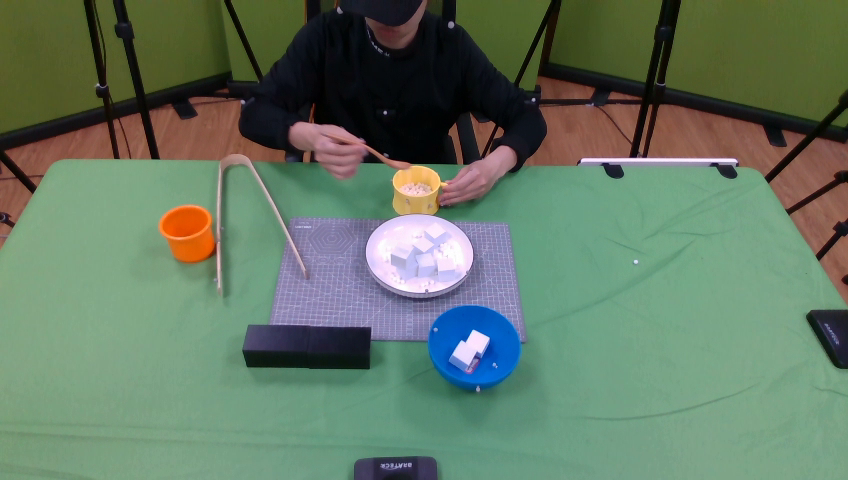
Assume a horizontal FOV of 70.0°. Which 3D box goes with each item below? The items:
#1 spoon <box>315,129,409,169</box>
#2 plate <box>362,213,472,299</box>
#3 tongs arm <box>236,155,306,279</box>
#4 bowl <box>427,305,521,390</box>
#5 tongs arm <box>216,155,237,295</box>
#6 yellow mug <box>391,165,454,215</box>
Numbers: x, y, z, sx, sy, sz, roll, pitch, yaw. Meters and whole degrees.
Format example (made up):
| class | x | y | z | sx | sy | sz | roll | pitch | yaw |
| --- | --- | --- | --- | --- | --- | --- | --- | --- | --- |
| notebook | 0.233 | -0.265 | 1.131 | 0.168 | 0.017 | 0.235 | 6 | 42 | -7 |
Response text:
| class | x | y | z | sx | sy | sz | roll | pitch | yaw |
| --- | --- | --- | --- | --- | --- | --- | --- | --- | --- |
| spoon | -0.114 | -0.172 | 1.140 | 0.195 | 0.021 | 0.041 | 22 | 16 | -29 |
| plate | -0.013 | 0.034 | 1.150 | 0.208 | 0.039 | 0.206 | 2 | 46 | -2 |
| tongs arm | -0.312 | -0.058 | 1.225 | 0.028 | 0.028 | 0.385 | -22 | 50 | -19 |
| bowl | 0.076 | 0.188 | 0.985 | 0.151 | 0.077 | 0.150 | 3 | 46 | -3 |
| tongs arm | -0.388 | -0.043 | 1.201 | 0.051 | 0.026 | 0.382 | -9 | 46 | -12 |
| yellow mug | -0.003 | -0.100 | 1.262 | 0.131 | 0.064 | 0.099 | 2 | 46 | -3 |
